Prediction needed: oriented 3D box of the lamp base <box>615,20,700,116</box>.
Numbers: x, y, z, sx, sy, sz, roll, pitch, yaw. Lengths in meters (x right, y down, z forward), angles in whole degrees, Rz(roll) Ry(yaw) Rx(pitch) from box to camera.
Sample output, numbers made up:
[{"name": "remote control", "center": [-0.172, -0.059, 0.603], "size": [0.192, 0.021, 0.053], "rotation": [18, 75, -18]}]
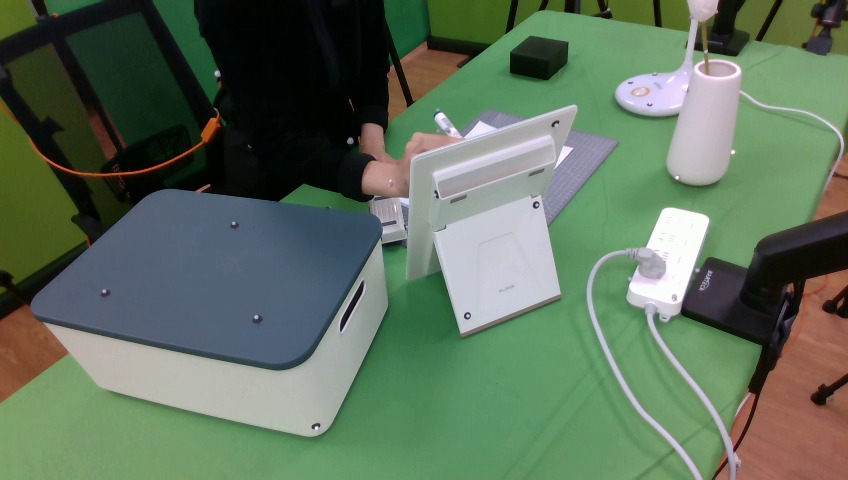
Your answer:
[{"name": "lamp base", "center": [0.484, -0.364, 1.211], "size": [0.180, 0.181, 0.159], "rotation": [-15, 41, -14]}]

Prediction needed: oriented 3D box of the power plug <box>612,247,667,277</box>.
[{"name": "power plug", "center": [0.306, 0.031, 0.852], "size": [0.072, 0.053, 0.035], "rotation": [21, 48, 38]}]

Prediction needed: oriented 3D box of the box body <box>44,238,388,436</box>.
[{"name": "box body", "center": [-0.251, 0.088, 0.799], "size": [0.362, 0.161, 0.254], "rotation": [7, 42, 16]}]

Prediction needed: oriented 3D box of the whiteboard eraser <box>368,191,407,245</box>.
[{"name": "whiteboard eraser", "center": [-0.061, -0.035, 1.006], "size": [0.056, 0.042, 0.112], "rotation": [-9, 40, -3]}]

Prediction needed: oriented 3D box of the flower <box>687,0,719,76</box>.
[{"name": "flower", "center": [0.436, -0.242, 0.934], "size": [0.038, 0.364, 0.043], "rotation": [-24, 49, 9]}]

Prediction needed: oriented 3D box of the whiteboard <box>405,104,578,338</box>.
[{"name": "whiteboard", "center": [0.102, 0.003, 0.787], "size": [0.218, 0.306, 0.143], "rotation": [-19, 62, -14]}]

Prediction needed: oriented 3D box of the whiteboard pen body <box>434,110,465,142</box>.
[{"name": "whiteboard pen body", "center": [0.052, -0.127, 0.813], "size": [0.017, 0.017, 0.139], "rotation": [-23, 59, -18]}]

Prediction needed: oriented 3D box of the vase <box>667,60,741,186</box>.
[{"name": "vase", "center": [0.463, -0.189, 0.994], "size": [0.098, 0.201, 0.097], "rotation": [-4, 40, 4]}]

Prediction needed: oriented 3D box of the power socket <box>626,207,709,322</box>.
[{"name": "power socket", "center": [0.360, 0.026, 0.886], "size": [0.072, 0.033, 0.227], "rotation": [17, 46, 27]}]

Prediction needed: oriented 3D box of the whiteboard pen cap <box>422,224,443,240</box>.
[{"name": "whiteboard pen cap", "center": [0.013, -0.013, 0.989], "size": [0.033, 0.018, 0.018], "rotation": [-31, 46, -21]}]

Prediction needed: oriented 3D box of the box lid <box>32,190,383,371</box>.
[{"name": "box lid", "center": [-0.257, 0.032, 0.750], "size": [0.370, 0.015, 0.263], "rotation": [7, 41, 16]}]
